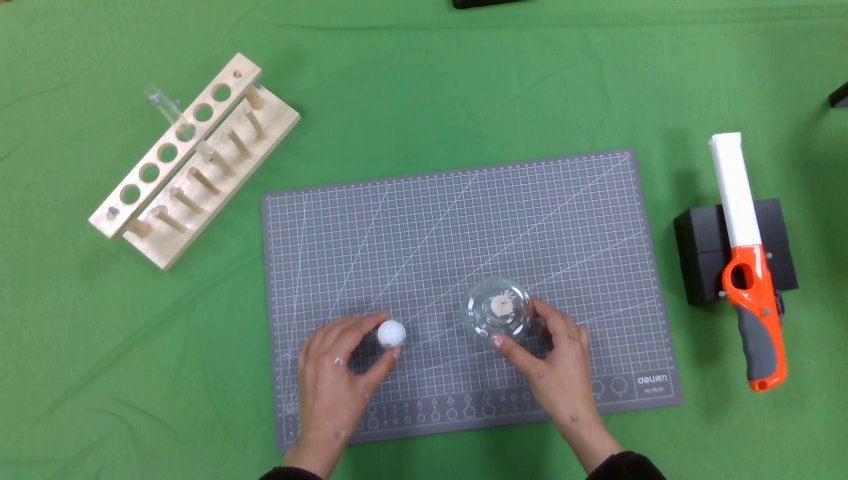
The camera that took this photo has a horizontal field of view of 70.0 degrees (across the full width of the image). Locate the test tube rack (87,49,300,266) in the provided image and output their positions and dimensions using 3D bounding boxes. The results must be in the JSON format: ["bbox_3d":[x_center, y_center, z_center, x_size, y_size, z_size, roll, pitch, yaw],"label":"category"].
[{"bbox_3d":[-0.253,-0.091,0.689,0.066,0.085,0.242,38,82,9],"label":"test tube rack"}]

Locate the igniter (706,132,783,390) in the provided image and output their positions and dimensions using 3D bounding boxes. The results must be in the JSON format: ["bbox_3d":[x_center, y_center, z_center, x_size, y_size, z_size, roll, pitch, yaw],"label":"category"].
[{"bbox_3d":[0.338,0.017,0.641,0.057,0.025,0.275,-4,77,2],"label":"igniter"}]

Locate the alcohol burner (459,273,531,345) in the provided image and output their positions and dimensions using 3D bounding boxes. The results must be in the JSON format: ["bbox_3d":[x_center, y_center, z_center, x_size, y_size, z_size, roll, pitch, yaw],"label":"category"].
[{"bbox_3d":[0.077,0.071,0.636,0.078,0.119,0.077,0,78,0],"label":"alcohol burner"}]

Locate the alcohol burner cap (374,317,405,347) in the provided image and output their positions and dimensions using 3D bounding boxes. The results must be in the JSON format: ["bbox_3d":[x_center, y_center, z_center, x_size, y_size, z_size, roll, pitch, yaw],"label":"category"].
[{"bbox_3d":[-0.037,0.097,0.646,0.034,0.048,0.033,0,80,0],"label":"alcohol burner cap"}]

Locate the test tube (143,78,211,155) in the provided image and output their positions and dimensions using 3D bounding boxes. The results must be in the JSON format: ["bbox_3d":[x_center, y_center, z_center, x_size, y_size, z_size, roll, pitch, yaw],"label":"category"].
[{"bbox_3d":[-0.258,-0.127,0.647,0.017,0.151,0.017,0,73,2],"label":"test tube"}]
